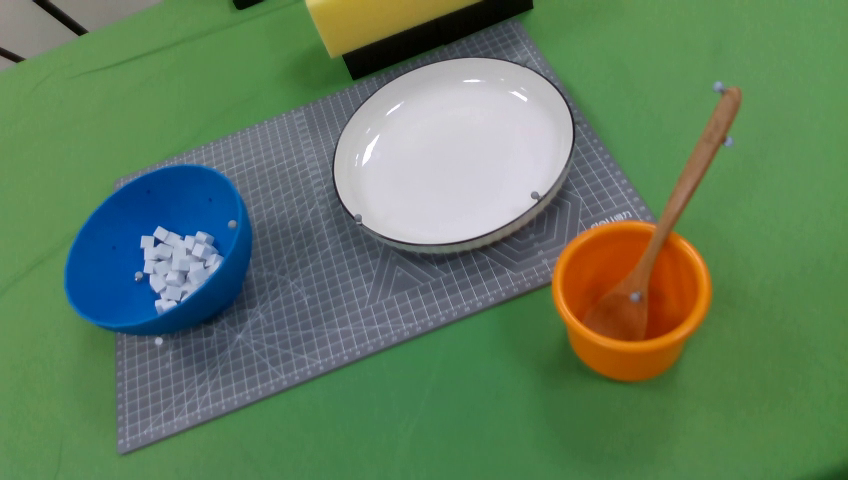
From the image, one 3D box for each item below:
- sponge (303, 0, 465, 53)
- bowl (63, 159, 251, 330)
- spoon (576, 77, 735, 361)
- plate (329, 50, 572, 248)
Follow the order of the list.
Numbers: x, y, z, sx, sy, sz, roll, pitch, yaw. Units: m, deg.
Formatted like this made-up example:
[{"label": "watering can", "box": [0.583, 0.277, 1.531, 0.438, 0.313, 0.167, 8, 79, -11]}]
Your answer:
[{"label": "sponge", "box": [-0.019, -0.275, 0.587, 0.207, 0.061, 0.117, -21, 56, 1]}, {"label": "bowl", "box": [-0.203, 0.015, 0.501, 0.151, 0.077, 0.150, -7, 57, 12]}, {"label": "spoon", "box": [0.146, -0.007, 0.380, 0.041, 0.194, 0.022, 33, 27, 30]}, {"label": "plate", "box": [0.021, -0.078, 0.523, 0.209, 0.038, 0.207, -7, 58, 11]}]
